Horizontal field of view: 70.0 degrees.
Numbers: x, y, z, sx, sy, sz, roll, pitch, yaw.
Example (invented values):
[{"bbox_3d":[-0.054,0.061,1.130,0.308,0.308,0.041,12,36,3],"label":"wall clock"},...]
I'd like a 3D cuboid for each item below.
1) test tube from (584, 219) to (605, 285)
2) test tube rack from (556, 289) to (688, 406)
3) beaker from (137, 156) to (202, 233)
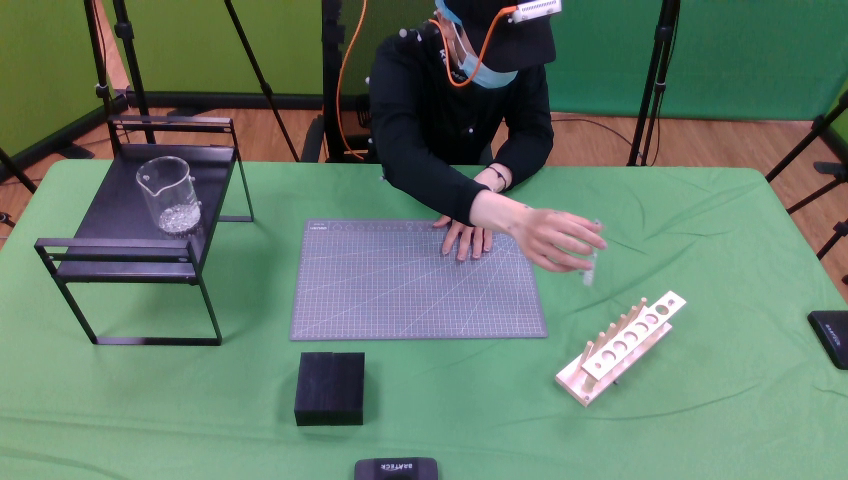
[{"bbox_3d":[0.262,0.022,0.937,0.017,0.151,0.017,-3,49,4],"label":"test tube"},{"bbox_3d":[0.332,0.166,1.014,0.242,0.085,0.066,-30,55,-28],"label":"test tube rack"},{"bbox_3d":[-0.385,-0.065,0.925,0.074,0.101,0.083,2,47,-1],"label":"beaker"}]
